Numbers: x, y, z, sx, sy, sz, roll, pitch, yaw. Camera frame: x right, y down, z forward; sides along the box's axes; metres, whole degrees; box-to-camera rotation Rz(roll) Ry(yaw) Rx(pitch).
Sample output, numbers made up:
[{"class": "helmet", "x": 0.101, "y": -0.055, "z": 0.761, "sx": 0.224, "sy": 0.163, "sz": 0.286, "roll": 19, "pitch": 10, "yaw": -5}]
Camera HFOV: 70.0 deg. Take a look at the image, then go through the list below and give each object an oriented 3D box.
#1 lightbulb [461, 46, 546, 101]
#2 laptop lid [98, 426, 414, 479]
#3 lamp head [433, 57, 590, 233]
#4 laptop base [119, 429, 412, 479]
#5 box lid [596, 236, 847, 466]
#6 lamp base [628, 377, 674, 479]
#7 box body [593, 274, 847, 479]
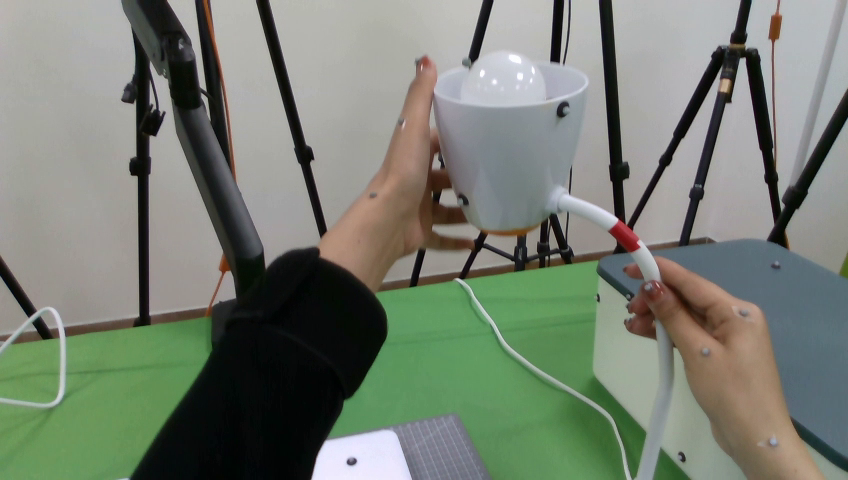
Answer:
[{"class": "lightbulb", "x": 0.058, "y": -0.086, "z": 0.441, "sx": 0.059, "sy": 0.108, "sz": 0.059, "roll": -4, "pitch": 36, "yaw": 4}, {"class": "laptop lid", "x": -0.169, "y": 0.267, "z": 0.509, "sx": 0.358, "sy": 0.013, "sz": 0.239, "roll": -6, "pitch": 27, "yaw": -13}, {"class": "lamp head", "x": 0.067, "y": -0.067, "z": 0.455, "sx": 0.112, "sy": 0.124, "sz": 0.111, "roll": -7, "pitch": 27, "yaw": 4}, {"class": "laptop base", "x": -0.170, "y": 0.277, "z": 0.516, "sx": 0.355, "sy": 0.023, "sz": 0.233, "roll": -6, "pitch": 28, "yaw": -15}, {"class": "box lid", "x": 0.373, "y": 0.081, "z": 0.608, "sx": 0.264, "sy": 0.015, "sz": 0.367, "roll": -6, "pitch": 25, "yaw": -17}, {"class": "lamp base", "x": 0.164, "y": 0.208, "z": 0.475, "sx": 0.160, "sy": 0.181, "sz": 0.179, "roll": 10, "pitch": 22, "yaw": 19}, {"class": "box body", "x": 0.373, "y": 0.150, "z": 0.637, "sx": 0.255, "sy": 0.161, "sz": 0.360, "roll": -7, "pitch": 25, "yaw": -17}]
